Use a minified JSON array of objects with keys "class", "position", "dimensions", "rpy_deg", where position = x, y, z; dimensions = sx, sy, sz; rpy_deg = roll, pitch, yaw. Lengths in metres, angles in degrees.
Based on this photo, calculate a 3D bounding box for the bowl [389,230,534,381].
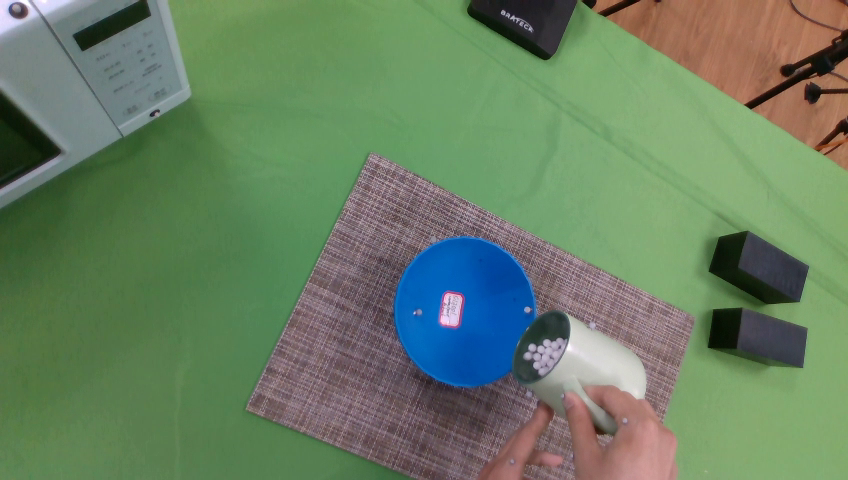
[{"class":"bowl","position":[0.030,0.069,0.635],"dimensions":[0.152,0.077,0.151],"rpy_deg":[2,82,-15]}]

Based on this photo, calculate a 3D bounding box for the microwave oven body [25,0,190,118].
[{"class":"microwave oven body","position":[-0.461,-0.174,0.432],"dimensions":[0.441,0.260,0.326],"rpy_deg":[-37,94,-17]}]

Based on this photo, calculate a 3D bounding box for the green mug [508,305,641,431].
[{"class":"green mug","position":[0.148,0.129,0.571],"dimensions":[0.106,0.124,0.092],"rpy_deg":[36,104,-20]}]

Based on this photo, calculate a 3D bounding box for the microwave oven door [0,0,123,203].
[{"class":"microwave oven door","position":[-0.406,-0.033,0.424],"dimensions":[0.355,0.243,0.039],"rpy_deg":[-37,92,-17]}]

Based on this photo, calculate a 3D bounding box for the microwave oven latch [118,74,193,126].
[{"class":"microwave oven latch","position":[-0.264,-0.143,0.585],"dimensions":[0.079,0.029,0.030],"rpy_deg":[-35,93,-17]}]
